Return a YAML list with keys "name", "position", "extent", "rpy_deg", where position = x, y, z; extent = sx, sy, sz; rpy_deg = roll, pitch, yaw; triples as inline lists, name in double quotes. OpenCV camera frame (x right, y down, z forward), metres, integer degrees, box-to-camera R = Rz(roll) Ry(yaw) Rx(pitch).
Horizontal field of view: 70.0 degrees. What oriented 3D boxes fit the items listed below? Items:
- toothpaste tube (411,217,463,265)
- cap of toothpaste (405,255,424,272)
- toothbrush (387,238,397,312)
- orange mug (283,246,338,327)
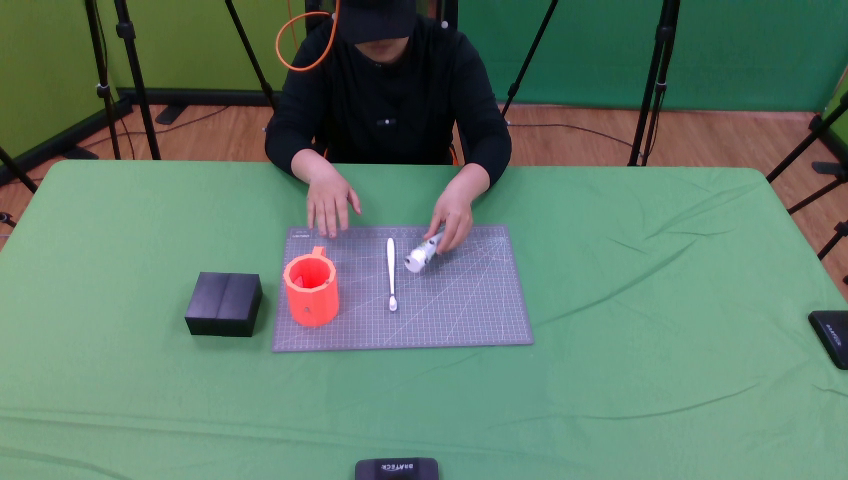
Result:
- name: "toothpaste tube"
  position: [0.021, 0.002, 1.161]
  extent: [0.055, 0.034, 0.165]
  rpy_deg: [-18, 19, 39]
- name: "cap of toothpaste"
  position: [-0.018, 0.041, 1.105]
  extent: [0.037, 0.037, 0.011]
  rpy_deg: [23, 40, 18]
- name: "toothbrush"
  position: [-0.062, 0.059, 1.136]
  extent: [0.014, 0.017, 0.180]
  rpy_deg: [-9, 45, 3]
- name: "orange mug"
  position: [-0.193, 0.074, 1.056]
  extent: [0.083, 0.101, 0.125]
  rpy_deg: [5, 50, 1]
